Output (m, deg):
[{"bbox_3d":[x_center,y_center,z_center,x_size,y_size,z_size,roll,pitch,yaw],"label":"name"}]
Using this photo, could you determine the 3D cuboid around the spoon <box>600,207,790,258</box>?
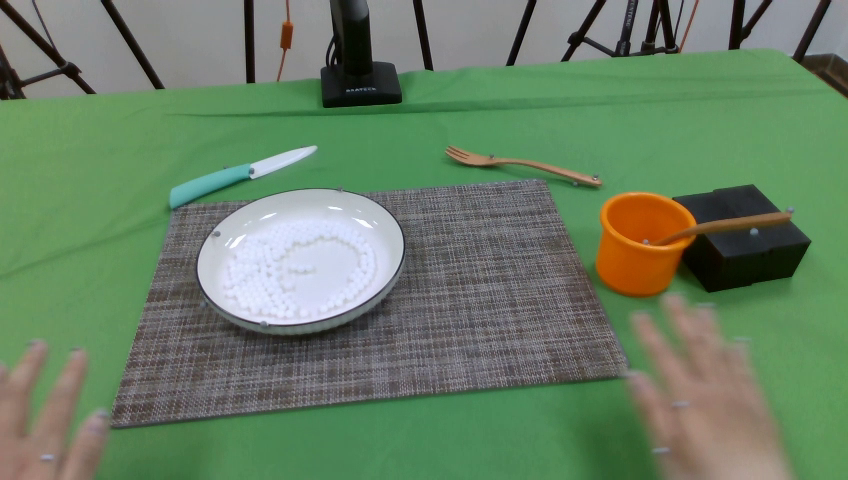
[{"bbox_3d":[0.247,-0.007,0.576,0.041,0.193,0.021,-30,93,-33],"label":"spoon"}]

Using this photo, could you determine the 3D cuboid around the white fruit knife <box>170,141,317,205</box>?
[{"bbox_3d":[-0.225,-0.092,0.770,0.207,0.016,0.027,-27,72,-32],"label":"white fruit knife"}]

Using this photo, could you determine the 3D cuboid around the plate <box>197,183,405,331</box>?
[{"bbox_3d":[-0.122,0.016,0.625,0.209,0.038,0.207,0,42,0],"label":"plate"}]

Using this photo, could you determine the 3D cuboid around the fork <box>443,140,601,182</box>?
[{"bbox_3d":[0.124,-0.101,0.777,0.206,0.019,0.028,13,38,16],"label":"fork"}]
